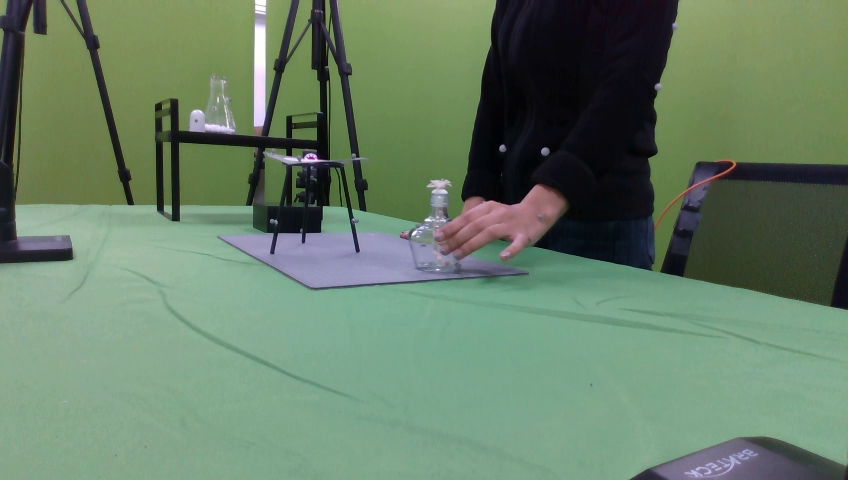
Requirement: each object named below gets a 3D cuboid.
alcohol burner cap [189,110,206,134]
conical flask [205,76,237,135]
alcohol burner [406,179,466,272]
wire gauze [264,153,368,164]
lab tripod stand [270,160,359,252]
[{"bbox_3d":[-0.464,-0.242,1.240,0.034,0.048,0.034,5,7,0],"label":"alcohol burner cap"},{"bbox_3d":[-0.443,-0.290,1.309,0.075,0.122,0.075,3,7,0],"label":"conical flask"},{"bbox_3d":[0.017,-0.019,0.778,0.078,0.119,0.078,4,5,0],"label":"alcohol burner"},{"bbox_3d":[-0.160,-0.118,0.888,0.122,0.011,0.124,-3,10,-31],"label":"wire gauze"},{"bbox_3d":[-0.167,-0.051,0.892,0.148,0.131,0.148,3,9,0],"label":"lab tripod stand"}]
